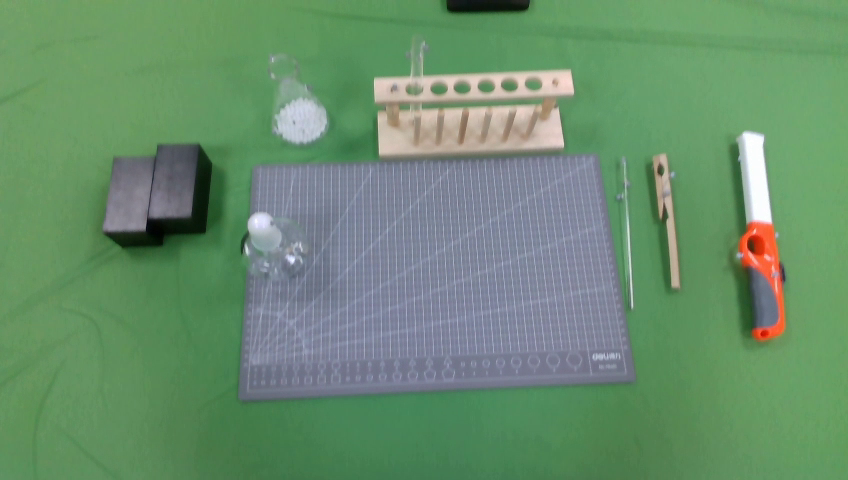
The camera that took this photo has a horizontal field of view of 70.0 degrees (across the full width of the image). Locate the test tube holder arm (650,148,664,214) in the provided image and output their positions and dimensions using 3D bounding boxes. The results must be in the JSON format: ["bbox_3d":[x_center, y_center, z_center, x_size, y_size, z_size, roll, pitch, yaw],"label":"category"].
[{"bbox_3d":[0.300,-0.076,0.776,0.010,0.015,0.087,-14,67,33],"label":"test tube holder arm"}]

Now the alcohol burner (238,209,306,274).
[{"bbox_3d":[-0.176,-0.005,0.684,0.078,0.120,0.077,0,69,1],"label":"alcohol burner"}]

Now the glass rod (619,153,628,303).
[{"bbox_3d":[0.249,-0.018,0.757,0.008,0.008,0.198,4,72,0],"label":"glass rod"}]

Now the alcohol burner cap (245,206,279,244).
[{"bbox_3d":[-0.176,-0.019,0.651,0.034,0.048,0.033,2,66,-4],"label":"alcohol burner cap"}]

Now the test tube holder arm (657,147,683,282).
[{"bbox_3d":[0.306,-0.034,0.758,0.013,0.015,0.177,-15,66,33],"label":"test tube holder arm"}]

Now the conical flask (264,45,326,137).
[{"bbox_3d":[-0.165,-0.187,0.749,0.075,0.122,0.075,0,70,-1],"label":"conical flask"}]

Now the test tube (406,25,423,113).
[{"bbox_3d":[-0.012,-0.199,0.724,0.017,0.151,0.017,1,67,-2],"label":"test tube"}]

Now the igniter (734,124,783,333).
[{"bbox_3d":[0.411,-0.019,0.751,0.057,0.025,0.275,9,70,-8],"label":"igniter"}]

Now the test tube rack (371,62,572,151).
[{"bbox_3d":[0.058,-0.167,0.767,0.242,0.085,0.066,-3,70,-2],"label":"test tube rack"}]
